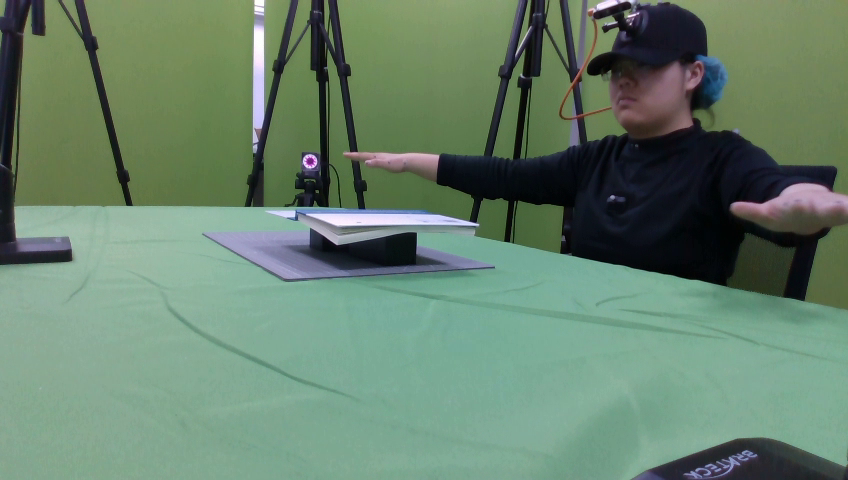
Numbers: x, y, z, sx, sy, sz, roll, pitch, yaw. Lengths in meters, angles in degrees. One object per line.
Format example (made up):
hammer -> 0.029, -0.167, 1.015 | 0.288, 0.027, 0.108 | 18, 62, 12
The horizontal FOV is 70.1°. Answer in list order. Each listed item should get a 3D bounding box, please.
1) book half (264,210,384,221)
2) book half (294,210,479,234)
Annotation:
book half -> -0.125, -0.038, 0.944 | 0.211, 0.007, 0.142 | -2, 9, -32
book half -> -0.051, -0.025, 0.823 | 0.211, 0.016, 0.148 | -1, 9, -32
